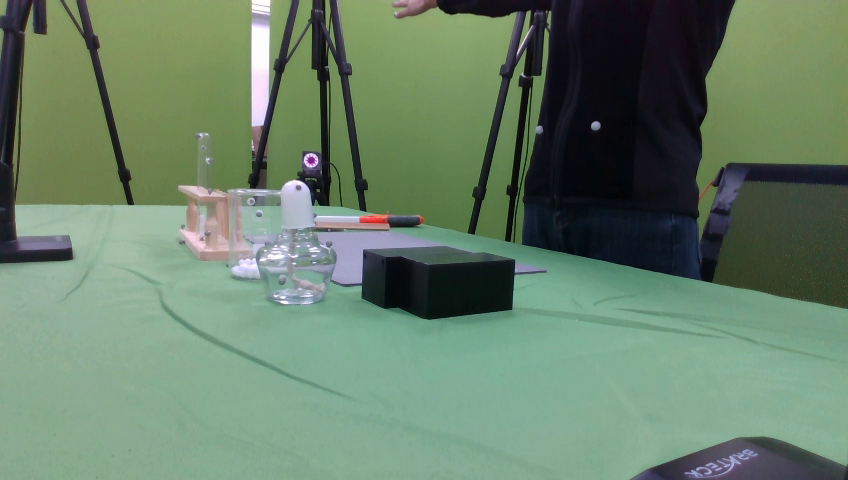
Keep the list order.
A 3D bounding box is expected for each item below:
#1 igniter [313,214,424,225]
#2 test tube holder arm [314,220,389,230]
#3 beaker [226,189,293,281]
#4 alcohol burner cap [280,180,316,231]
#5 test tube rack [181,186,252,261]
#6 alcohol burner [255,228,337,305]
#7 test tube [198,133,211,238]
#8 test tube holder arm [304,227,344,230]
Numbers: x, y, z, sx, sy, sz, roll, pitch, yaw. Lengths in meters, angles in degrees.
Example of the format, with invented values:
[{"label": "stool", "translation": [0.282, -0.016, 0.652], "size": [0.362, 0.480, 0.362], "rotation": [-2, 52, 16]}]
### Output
[{"label": "igniter", "translation": [-0.129, -0.044, 1.273], "size": [0.278, 0.025, 0.057], "rotation": [-1, -2, -26]}, {"label": "test tube holder arm", "translation": [-0.153, -0.028, 1.174], "size": [0.179, 0.015, 0.013], "rotation": [1, -25, -21]}, {"label": "beaker", "translation": [-0.184, -0.007, 0.694], "size": [0.084, 0.100, 0.073], "rotation": [-1, 8, -29]}, {"label": "alcohol burner cap", "translation": [-0.122, -0.034, 0.581], "size": [0.034, 0.048, 0.034], "rotation": [-3, 10, 1]}, {"label": "test tube rack", "translation": [-0.312, -0.031, 0.893], "size": [0.067, 0.085, 0.241], "rotation": [-1, 8, -27]}, {"label": "alcohol burner", "translation": [-0.124, 0.002, 0.585], "size": [0.078, 0.119, 0.078], "rotation": [0, 7, 0]}, {"label": "test tube", "translation": [-0.316, -0.078, 0.871], "size": [0.017, 0.150, 0.017], "rotation": [2, 3, 0]}, {"label": "test tube holder arm", "translation": [-0.197, -0.026, 1.163], "size": [0.088, 0.015, 0.010], "rotation": [0, -24, -20]}]
